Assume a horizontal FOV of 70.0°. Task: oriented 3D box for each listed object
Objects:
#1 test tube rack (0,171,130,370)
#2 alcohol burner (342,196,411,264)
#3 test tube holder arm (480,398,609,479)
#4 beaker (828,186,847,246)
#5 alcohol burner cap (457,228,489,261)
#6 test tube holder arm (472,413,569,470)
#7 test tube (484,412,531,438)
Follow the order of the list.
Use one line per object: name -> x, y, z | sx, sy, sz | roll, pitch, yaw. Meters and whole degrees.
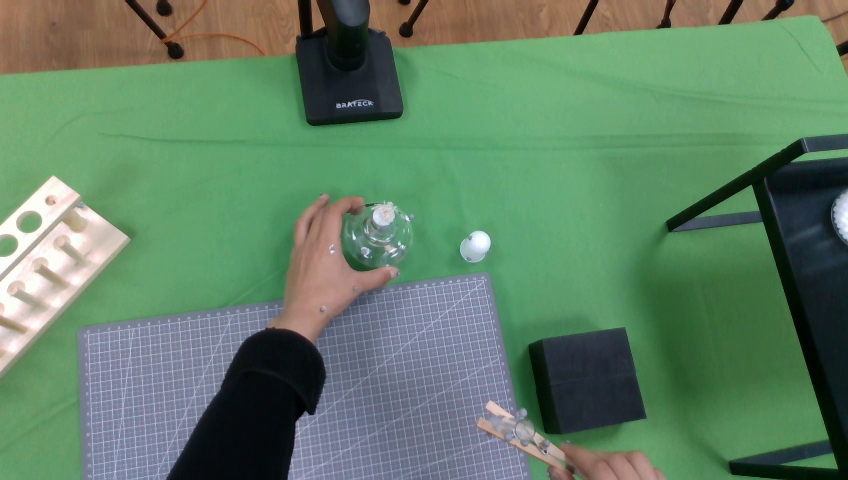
test tube rack -> -0.412, 0.054, 0.589 | 0.067, 0.085, 0.241 | 36, 71, 2
alcohol burner -> -0.050, -0.016, 0.660 | 0.078, 0.119, 0.077 | 3, 73, -10
test tube holder arm -> 0.124, 0.186, 0.505 | 0.178, 0.015, 0.013 | 32, 81, 6
beaker -> 0.444, -0.034, 0.571 | 0.084, 0.100, 0.073 | 22, 71, -2
alcohol burner cap -> 0.059, 0.003, 0.711 | 0.034, 0.048, 0.033 | 3, 73, -9
test tube holder arm -> 0.082, 0.169, 0.509 | 0.087, 0.015, 0.010 | 25, 80, 5
test tube -> 0.065, 0.150, 0.496 | 0.017, 0.151, 0.017 | 1, 75, -3
